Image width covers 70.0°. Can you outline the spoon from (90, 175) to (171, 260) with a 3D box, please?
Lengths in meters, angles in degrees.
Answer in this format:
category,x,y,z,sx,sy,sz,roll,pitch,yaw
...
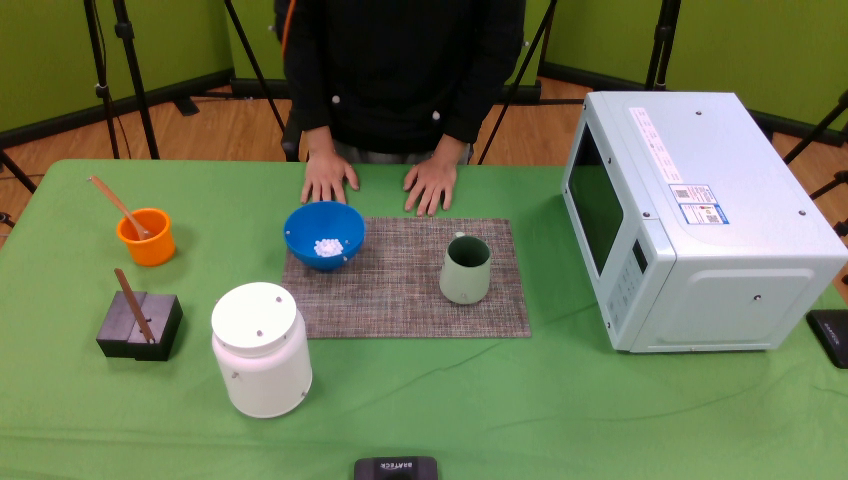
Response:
category,x,y,z,sx,sy,sz,roll,pitch,yaw
spoon,-0.539,-0.042,1.111,0.021,0.194,0.041,-14,26,52

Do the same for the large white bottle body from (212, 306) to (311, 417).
category,x,y,z,sx,sy,sz,roll,pitch,yaw
large white bottle body,-0.241,0.165,0.907,0.131,0.185,0.130,2,45,-2

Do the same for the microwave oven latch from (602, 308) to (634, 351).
category,x,y,z,sx,sy,sz,roll,pitch,yaw
microwave oven latch,0.332,0.153,1.044,0.030,0.029,0.078,-1,45,-4

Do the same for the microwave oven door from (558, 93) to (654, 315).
category,x,y,z,sx,sy,sz,roll,pitch,yaw
microwave oven door,0.327,-0.074,1.123,0.039,0.245,0.353,0,46,-5

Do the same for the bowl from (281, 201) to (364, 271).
category,x,y,z,sx,sy,sz,roll,pitch,yaw
bowl,-0.187,0.005,1.138,0.151,0.077,0.150,3,46,-3

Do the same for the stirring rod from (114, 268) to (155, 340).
category,x,y,z,sx,sy,sz,roll,pitch,yaw
stirring rod,-0.479,0.103,0.999,0.014,0.006,0.175,7,32,-49

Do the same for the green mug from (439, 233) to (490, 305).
category,x,y,z,sx,sy,sz,roll,pitch,yaw
green mug,0.071,0.044,1.101,0.092,0.105,0.124,-6,46,-9

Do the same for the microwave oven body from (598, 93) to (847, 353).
category,x,y,z,sx,sy,sz,roll,pitch,yaw
microwave oven body,0.475,-0.041,1.110,0.326,0.261,0.438,-1,45,-4

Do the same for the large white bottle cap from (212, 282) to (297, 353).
category,x,y,z,sx,sy,sz,roll,pitch,yaw
large white bottle cap,-0.237,0.106,0.846,0.115,0.018,0.114,2,45,-2
